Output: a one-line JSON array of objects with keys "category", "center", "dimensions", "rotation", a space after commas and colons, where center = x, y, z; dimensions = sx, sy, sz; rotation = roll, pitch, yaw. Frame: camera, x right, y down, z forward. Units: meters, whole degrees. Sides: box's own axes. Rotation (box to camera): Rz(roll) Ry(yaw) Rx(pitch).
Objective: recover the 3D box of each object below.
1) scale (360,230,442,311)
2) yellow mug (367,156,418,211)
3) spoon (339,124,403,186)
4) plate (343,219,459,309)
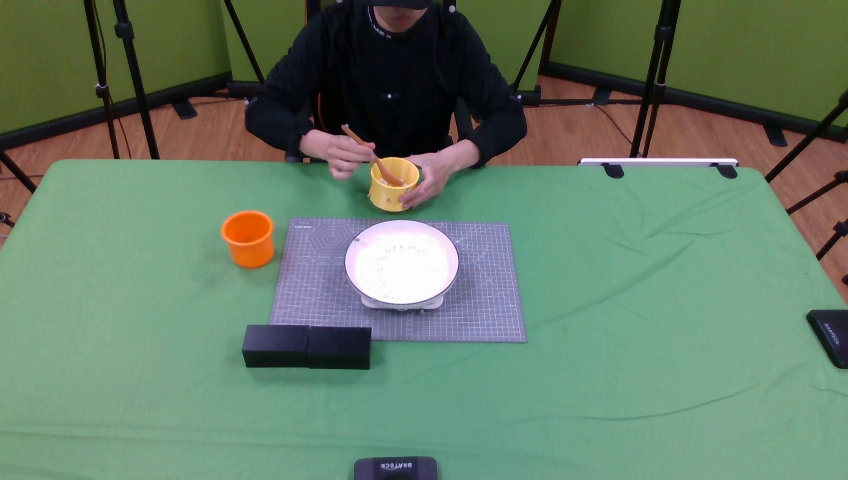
[{"category": "scale", "center": [-0.042, 0.047, 1.138], "dimensions": [0.149, 0.032, 0.199], "rotation": [2, 46, -3]}, {"category": "yellow mug", "center": [-0.076, -0.127, 1.254], "dimensions": [0.100, 0.064, 0.130], "rotation": [-30, 58, -32]}, {"category": "spoon", "center": [-0.104, -0.166, 1.201], "dimensions": [0.041, 0.195, 0.021], "rotation": [9, 60, 45]}, {"category": "plate", "center": [-0.041, 0.046, 1.094], "dimensions": [0.209, 0.038, 0.208], "rotation": [2, 46, -2]}]
